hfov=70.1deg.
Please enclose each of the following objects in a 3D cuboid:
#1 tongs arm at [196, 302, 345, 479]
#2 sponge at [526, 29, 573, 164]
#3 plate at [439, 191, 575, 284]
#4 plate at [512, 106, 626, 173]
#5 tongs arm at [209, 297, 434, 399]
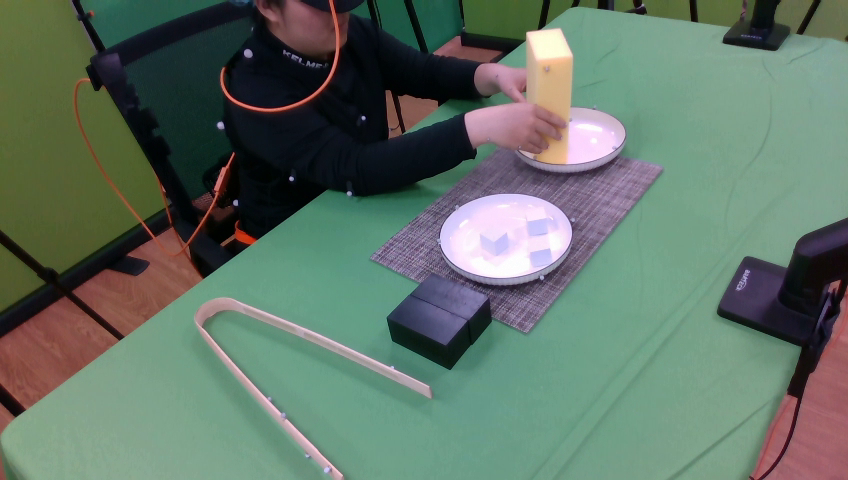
[{"bbox_3d":[-0.206,0.185,0.791,0.381,0.026,0.051,28,51,37],"label":"tongs arm"},{"bbox_3d":[0.219,-0.250,1.073,0.061,0.208,0.117,-6,42,4],"label":"sponge"},{"bbox_3d":[0.129,-0.001,0.942,0.207,0.039,0.206,-5,40,5],"label":"plate"},{"bbox_3d":[0.269,-0.184,1.132,0.209,0.038,0.208,-5,40,5],"label":"plate"},{"bbox_3d":[-0.153,0.143,0.837,0.385,0.028,0.028,16,49,28],"label":"tongs arm"}]
